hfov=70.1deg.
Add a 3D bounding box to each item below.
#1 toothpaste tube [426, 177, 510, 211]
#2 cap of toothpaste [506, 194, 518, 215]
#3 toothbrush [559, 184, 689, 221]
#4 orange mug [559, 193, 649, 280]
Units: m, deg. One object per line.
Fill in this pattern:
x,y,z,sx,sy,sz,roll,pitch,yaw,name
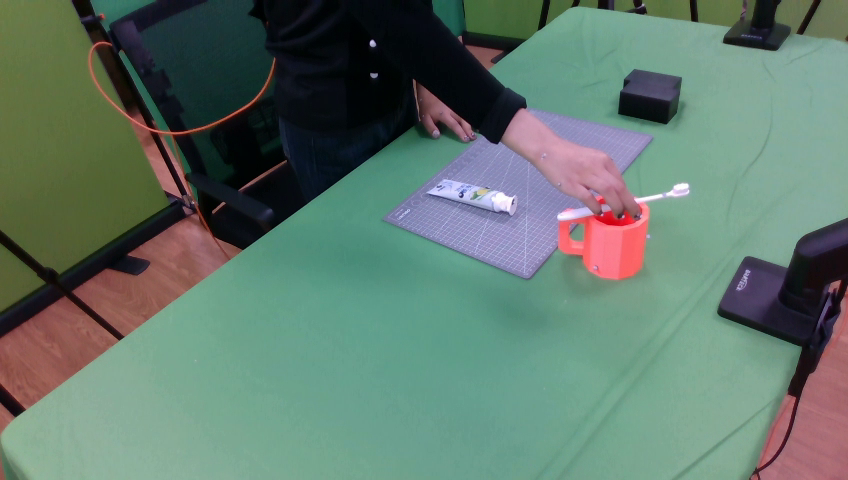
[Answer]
0.083,-0.081,1.054,0.164,0.034,0.055,18,40,34,toothpaste tube
0.146,-0.059,1.008,0.011,0.037,0.037,14,46,22,cap of toothpaste
0.277,-0.051,0.838,0.182,0.017,0.014,-12,56,4,toothbrush
0.261,-0.008,0.884,0.126,0.101,0.083,9,43,14,orange mug
